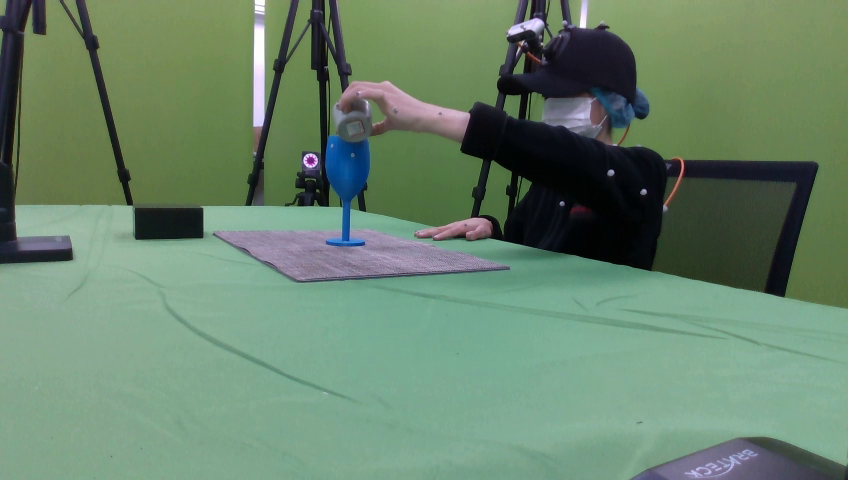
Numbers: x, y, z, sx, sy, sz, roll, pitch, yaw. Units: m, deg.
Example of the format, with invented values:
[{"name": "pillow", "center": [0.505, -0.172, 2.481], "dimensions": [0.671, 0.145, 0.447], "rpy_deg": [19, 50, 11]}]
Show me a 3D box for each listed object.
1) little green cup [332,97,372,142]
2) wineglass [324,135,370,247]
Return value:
[{"name": "little green cup", "center": [-0.106, -0.179, 0.905], "dimensions": [0.061, 0.038, 0.061], "rpy_deg": [-8, -35, -6]}, {"name": "wineglass", "center": [-0.125, -0.079, 0.965], "dimensions": [0.074, 0.172, 0.073], "rpy_deg": [3, 7, 0]}]
